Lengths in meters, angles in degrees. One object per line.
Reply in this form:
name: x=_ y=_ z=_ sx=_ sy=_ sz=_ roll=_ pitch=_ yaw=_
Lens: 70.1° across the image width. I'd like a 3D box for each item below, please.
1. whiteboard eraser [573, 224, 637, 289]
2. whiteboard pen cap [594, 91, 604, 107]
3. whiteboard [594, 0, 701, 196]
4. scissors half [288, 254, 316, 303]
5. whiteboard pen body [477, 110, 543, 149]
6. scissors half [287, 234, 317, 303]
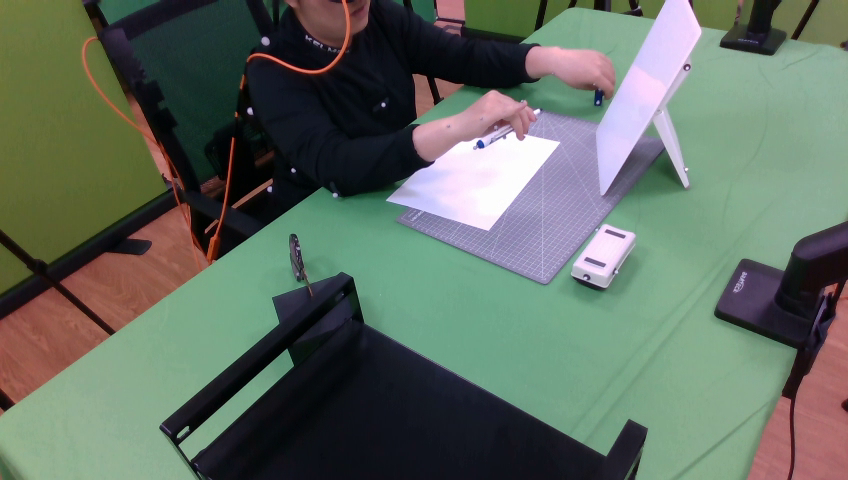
whiteboard eraser: x=0.267 y=0.025 z=0.891 sx=0.055 sy=0.042 sz=0.113 roll=19 pitch=47 yaw=31
whiteboard pen cap: x=0.365 y=-0.294 z=1.262 sx=0.018 sy=0.033 sz=0.018 roll=-3 pitch=43 yaw=4
whiteboard: x=0.420 y=-0.227 z=1.010 sx=0.144 sy=0.305 sz=0.216 roll=18 pitch=42 yaw=-2
scissors half: x=-0.178 y=0.058 z=0.894 sx=0.013 sy=0.040 sz=0.174 roll=-15 pitch=21 yaw=-17
whiteboard pen body: x=0.143 y=-0.183 z=0.986 sx=0.141 sy=0.017 sz=0.017 roll=-31 pitch=45 yaw=-22
scissors half: x=-0.179 y=0.040 z=0.885 sx=0.013 sy=0.040 sz=0.173 roll=-11 pitch=36 yaw=-20
